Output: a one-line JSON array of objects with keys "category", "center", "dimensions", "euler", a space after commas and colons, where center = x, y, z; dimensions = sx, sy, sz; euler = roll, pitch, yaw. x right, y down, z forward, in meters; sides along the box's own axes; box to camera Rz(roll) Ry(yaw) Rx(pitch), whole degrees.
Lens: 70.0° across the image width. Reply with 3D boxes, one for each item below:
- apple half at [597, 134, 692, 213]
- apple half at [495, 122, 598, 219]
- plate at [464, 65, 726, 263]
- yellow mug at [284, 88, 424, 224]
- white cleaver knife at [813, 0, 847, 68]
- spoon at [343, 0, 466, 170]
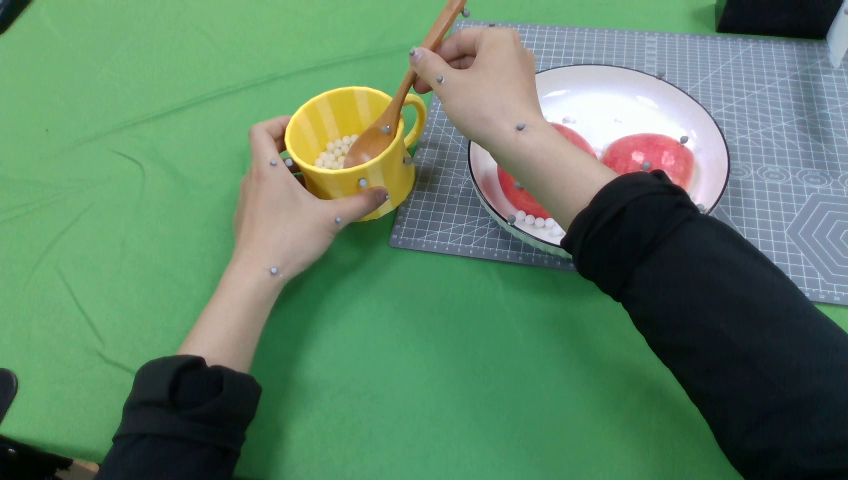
[{"category": "apple half", "center": [0.181, -0.063, 0.495], "dimensions": [0.081, 0.033, 0.080], "euler": [-3, 58, 5]}, {"category": "apple half", "center": [0.099, -0.065, 0.493], "dimensions": [0.081, 0.054, 0.074], "euler": [-29, 56, -13]}, {"category": "plate", "center": [0.138, -0.065, 0.509], "dimensions": [0.209, 0.038, 0.207], "euler": [-3, 56, 4]}, {"category": "yellow mug", "center": [-0.051, -0.082, 0.525], "dimensions": [0.131, 0.064, 0.099], "euler": [-37, 59, -18]}, {"category": "white cleaver knife", "center": [0.388, -0.200, 0.557], "dimensions": [0.021, 0.066, 0.284], "euler": [5, 53, 15]}, {"category": "spoon", "center": [-0.013, -0.122, 0.482], "dimensions": [0.041, 0.194, 0.022], "euler": [44, 29, 22]}]
